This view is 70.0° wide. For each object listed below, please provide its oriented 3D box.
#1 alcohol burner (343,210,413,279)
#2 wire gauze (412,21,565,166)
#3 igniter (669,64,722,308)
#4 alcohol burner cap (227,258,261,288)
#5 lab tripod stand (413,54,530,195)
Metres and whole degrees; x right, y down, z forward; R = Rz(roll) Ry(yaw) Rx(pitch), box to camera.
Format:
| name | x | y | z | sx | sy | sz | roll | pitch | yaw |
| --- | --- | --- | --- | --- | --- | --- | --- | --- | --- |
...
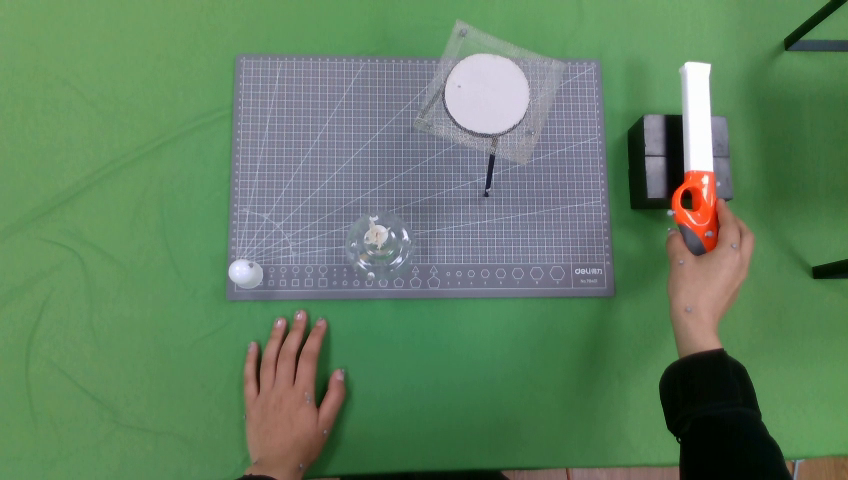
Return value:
| name | x | y | z | sx | sy | sz | roll | pitch | yaw |
| --- | --- | --- | --- | --- | --- | --- | --- | --- | --- |
| alcohol burner | -0.049 | 0.003 | 0.652 | 0.078 | 0.119 | 0.077 | 1 | 81 | -3 |
| wire gauze | 0.066 | -0.147 | 0.606 | 0.121 | 0.011 | 0.124 | 22 | 78 | 0 |
| igniter | 0.299 | -0.062 | 0.669 | 0.057 | 0.025 | 0.275 | 4 | 81 | -5 |
| alcohol burner cap | -0.202 | 0.035 | 0.673 | 0.034 | 0.048 | 0.033 | 1 | 80 | -4 |
| lab tripod stand | 0.061 | -0.138 | 0.672 | 0.148 | 0.132 | 0.147 | 1 | 78 | -3 |
